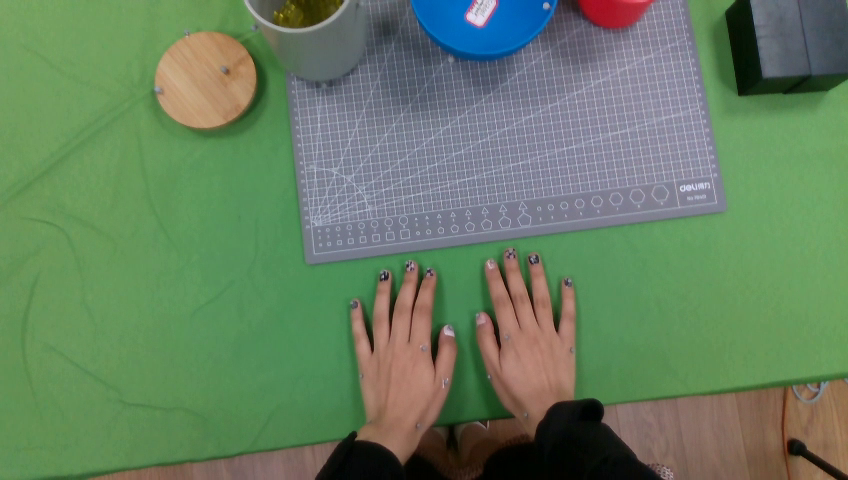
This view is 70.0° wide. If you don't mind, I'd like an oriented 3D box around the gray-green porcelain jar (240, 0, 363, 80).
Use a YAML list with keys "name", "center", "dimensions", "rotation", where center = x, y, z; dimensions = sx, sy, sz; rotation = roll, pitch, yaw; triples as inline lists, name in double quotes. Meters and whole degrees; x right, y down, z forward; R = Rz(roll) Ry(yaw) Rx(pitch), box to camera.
- name: "gray-green porcelain jar"
  center: [-0.117, -0.227, 0.603]
  dimensions: [0.106, 0.127, 0.105]
  rotation: [0, 83, 0]

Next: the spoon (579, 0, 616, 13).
- name: "spoon"
  center: [0.228, -0.310, 0.605]
  dimensions: [0.041, 0.021, 0.194]
  rotation: [48, 129, 6]

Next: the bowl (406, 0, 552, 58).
- name: "bowl"
  center: [0.054, -0.251, 0.631]
  dimensions: [0.151, 0.077, 0.151]
  rotation: [0, 83, 0]

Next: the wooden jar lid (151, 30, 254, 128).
- name: "wooden jar lid"
  center: [-0.236, -0.171, 0.653]
  dimensions: [0.108, 0.021, 0.108]
  rotation: [0, 83, 1]
